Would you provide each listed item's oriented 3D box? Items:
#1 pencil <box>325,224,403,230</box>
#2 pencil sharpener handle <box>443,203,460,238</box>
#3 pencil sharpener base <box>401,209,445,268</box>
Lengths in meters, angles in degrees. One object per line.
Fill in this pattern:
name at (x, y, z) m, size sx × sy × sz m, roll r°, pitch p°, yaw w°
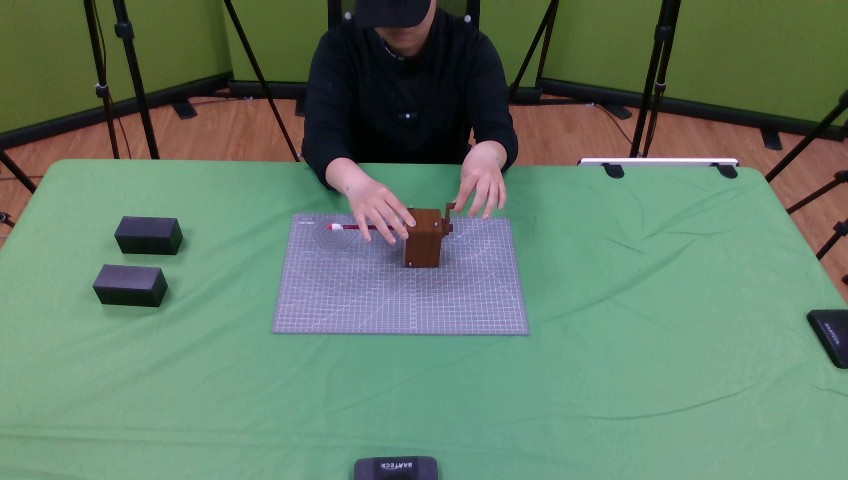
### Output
pencil at (-0.083, -0.023, 1.110) m, size 0.194 × 0.012 × 0.012 m, roll 0°, pitch 46°, yaw -6°
pencil sharpener handle at (0.049, -0.037, 1.115) m, size 0.031 × 0.068 × 0.036 m, roll -1°, pitch 23°, yaw -5°
pencil sharpener base at (-0.004, -0.002, 1.137) m, size 0.077 × 0.107 × 0.061 m, roll -1°, pitch 46°, yaw -5°
